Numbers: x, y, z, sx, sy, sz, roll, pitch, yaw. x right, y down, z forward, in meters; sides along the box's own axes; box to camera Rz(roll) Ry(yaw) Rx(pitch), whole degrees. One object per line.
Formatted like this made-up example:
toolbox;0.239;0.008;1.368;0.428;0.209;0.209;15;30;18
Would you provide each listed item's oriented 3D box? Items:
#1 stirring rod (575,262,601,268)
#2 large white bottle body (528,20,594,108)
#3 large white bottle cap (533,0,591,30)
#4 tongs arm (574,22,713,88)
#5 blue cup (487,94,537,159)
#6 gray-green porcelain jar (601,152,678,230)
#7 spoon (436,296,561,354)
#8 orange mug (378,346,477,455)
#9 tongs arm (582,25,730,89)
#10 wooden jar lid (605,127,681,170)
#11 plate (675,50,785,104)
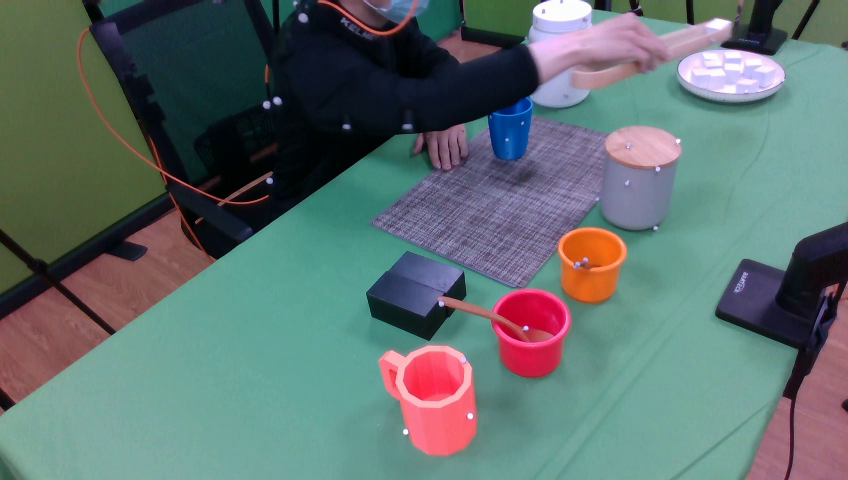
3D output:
stirring rod;0.222;0.033;0.816;0.014;0.006;0.177;8;1;22
large white bottle body;0.283;-0.385;1.259;0.130;0.185;0.130;-4;41;4
large white bottle cap;0.275;-0.449;1.204;0.115;0.018;0.114;-4;41;4
tongs arm;0.393;-0.323;1.040;0.387;0.026;0.050;-22;36;-25
blue cup;0.160;-0.208;1.129;0.092;0.100;0.092;-3;39;3
gray-green porcelain jar;0.335;-0.087;0.949;0.106;0.127;0.105;-4;40;4
spoon;0.096;0.102;0.750;0.195;0.021;0.041;28;31;-27
orange mug;0.002;0.179;0.708;0.125;0.101;0.083;25;50;27
tongs arm;0.407;-0.315;1.024;0.389;0.028;0.028;-25;41;-29
wooden jar lid;0.327;-0.134;0.909;0.108;0.021;0.108;-2;43;2
plate;0.632;-0.336;1.262;0.207;0.039;0.206;-4;40;4
